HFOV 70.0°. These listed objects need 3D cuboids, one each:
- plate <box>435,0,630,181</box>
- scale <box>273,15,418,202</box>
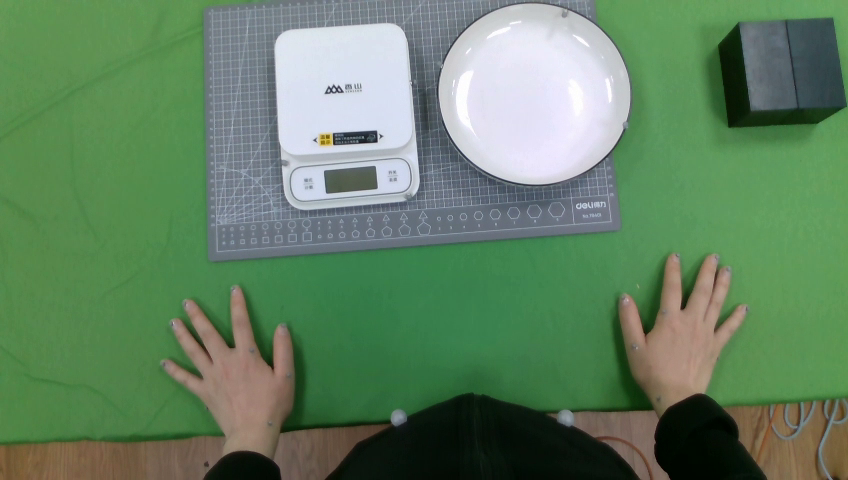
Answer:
[{"bbox_3d":[0.117,-0.162,0.661,0.209,0.038,0.208,0,82,1],"label":"plate"},{"bbox_3d":[-0.087,-0.146,0.665,0.149,0.031,0.200,-5,82,1],"label":"scale"}]
